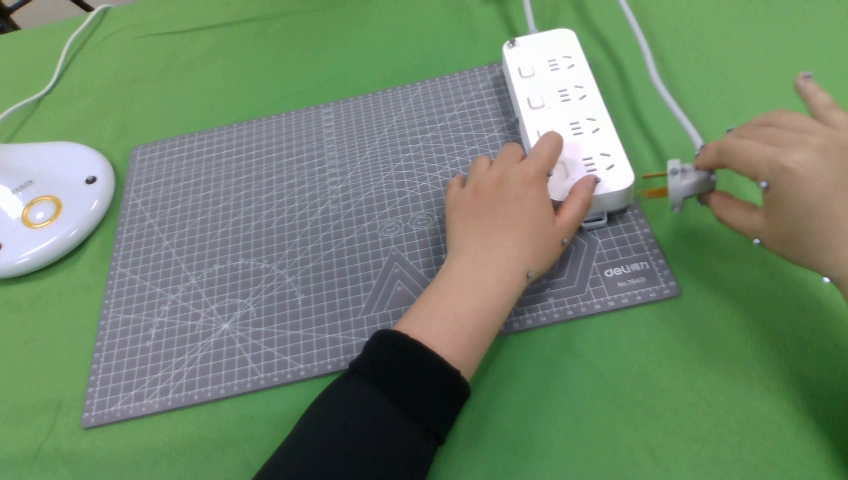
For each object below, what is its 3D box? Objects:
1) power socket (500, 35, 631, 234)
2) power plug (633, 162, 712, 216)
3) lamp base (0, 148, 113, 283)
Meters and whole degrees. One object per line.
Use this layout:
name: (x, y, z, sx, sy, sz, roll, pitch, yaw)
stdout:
power socket: (0.118, -0.103, 0.533, 0.072, 0.033, 0.224, -10, 53, 3)
power plug: (0.183, -0.037, 0.446, 0.052, 0.073, 0.035, -3, 96, 24)
lamp base: (-0.400, -0.075, 0.524, 0.178, 0.182, 0.160, 20, 60, 26)
